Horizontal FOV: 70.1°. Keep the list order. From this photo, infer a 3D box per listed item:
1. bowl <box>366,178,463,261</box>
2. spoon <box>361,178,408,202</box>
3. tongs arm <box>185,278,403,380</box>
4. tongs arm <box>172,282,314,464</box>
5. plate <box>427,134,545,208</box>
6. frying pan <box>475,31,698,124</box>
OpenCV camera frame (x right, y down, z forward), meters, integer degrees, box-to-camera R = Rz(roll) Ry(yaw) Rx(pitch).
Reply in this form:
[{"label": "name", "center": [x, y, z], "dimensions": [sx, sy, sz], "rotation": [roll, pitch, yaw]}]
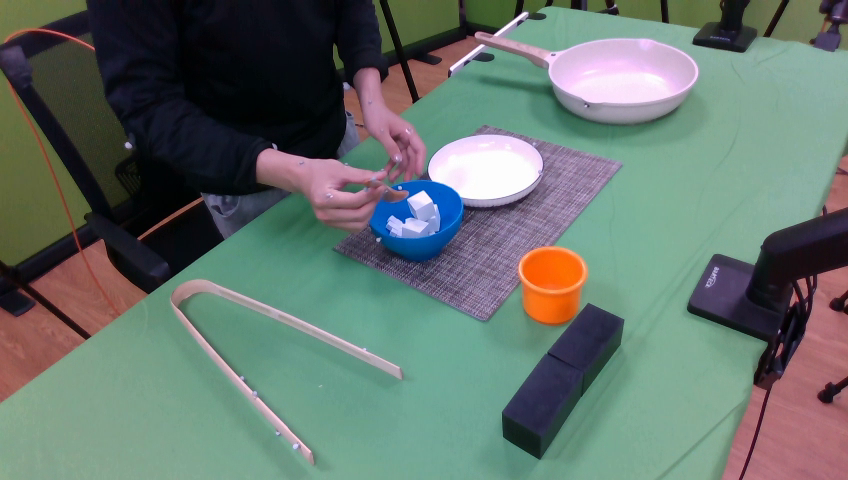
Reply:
[{"label": "bowl", "center": [-0.011, -0.021, 0.945], "dimensions": [0.151, 0.077, 0.150], "rotation": [-4, 41, 4]}, {"label": "spoon", "center": [-0.056, -0.069, 0.805], "dimensions": [0.041, 0.194, 0.021], "rotation": [-11, 84, 10]}, {"label": "tongs arm", "center": [-0.193, 0.119, 0.853], "dimensions": [0.385, 0.028, 0.028], "rotation": [18, 49, 26]}, {"label": "tongs arm", "center": [-0.246, 0.160, 0.806], "dimensions": [0.381, 0.026, 0.051], "rotation": [29, 51, 36]}, {"label": "plate", "center": [0.110, -0.119, 1.073], "dimensions": [0.207, 0.039, 0.206], "rotation": [-4, 40, 4]}, {"label": "frying pan", "center": [0.320, -0.371, 1.290], "dimensions": [0.485, 0.103, 0.307], "rotation": [28, 50, 23]}]
